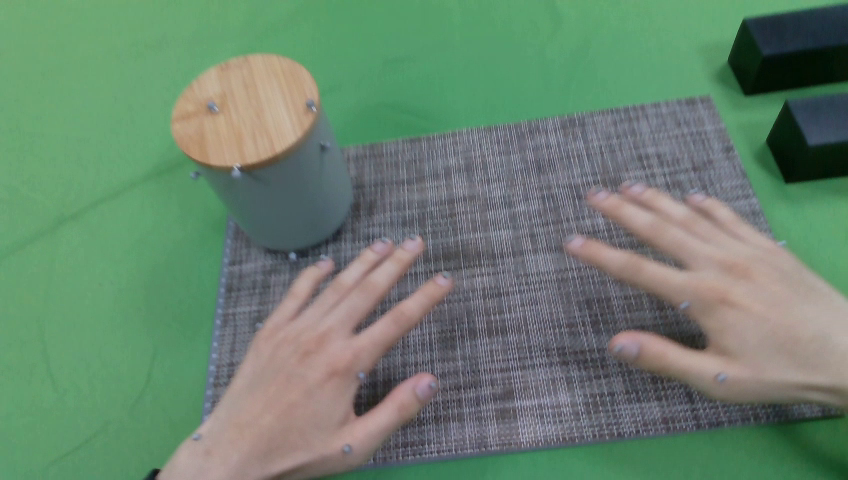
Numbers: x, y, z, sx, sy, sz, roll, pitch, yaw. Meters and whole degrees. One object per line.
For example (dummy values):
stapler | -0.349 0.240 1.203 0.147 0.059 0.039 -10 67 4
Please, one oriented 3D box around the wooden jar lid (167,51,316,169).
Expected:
wooden jar lid | -0.131 -0.094 0.445 0.108 0.021 0.107 -2 61 3

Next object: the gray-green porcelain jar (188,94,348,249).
gray-green porcelain jar | -0.123 -0.061 0.497 0.106 0.127 0.105 -3 58 6
